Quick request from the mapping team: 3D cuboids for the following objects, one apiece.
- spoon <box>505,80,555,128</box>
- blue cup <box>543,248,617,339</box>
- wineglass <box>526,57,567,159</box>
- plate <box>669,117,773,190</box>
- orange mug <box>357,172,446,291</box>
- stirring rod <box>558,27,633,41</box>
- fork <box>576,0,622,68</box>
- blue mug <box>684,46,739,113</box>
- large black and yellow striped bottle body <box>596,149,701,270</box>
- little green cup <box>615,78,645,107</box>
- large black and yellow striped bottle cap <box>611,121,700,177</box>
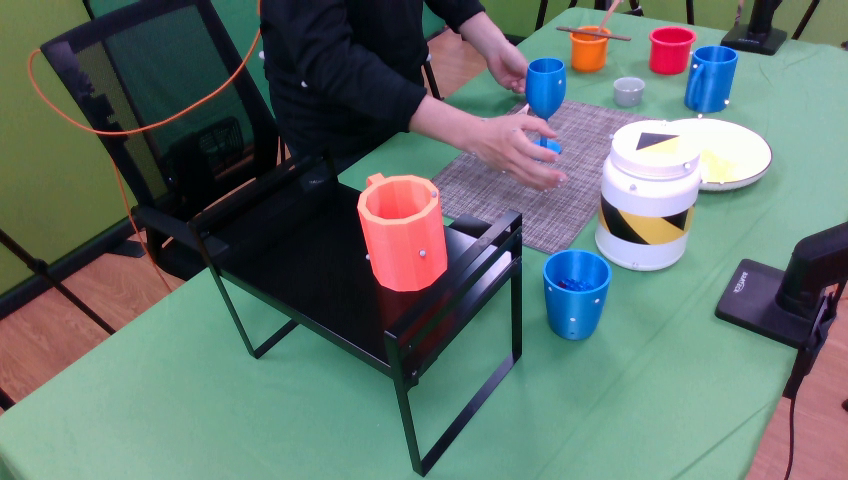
[{"bbox_3d":[0.227,-0.286,1.260,0.041,0.022,0.194,23,56,29],"label":"spoon"},{"bbox_3d":[0.199,0.076,0.797,0.092,0.100,0.092,-4,39,4],"label":"blue cup"},{"bbox_3d":[0.221,-0.237,1.098,0.074,0.173,0.073,-4,41,4],"label":"wineglass"},{"bbox_3d":[0.495,-0.148,1.063,0.209,0.038,0.208,-5,40,4],"label":"plate"},{"bbox_3d":[-0.030,-0.018,0.669,0.084,0.101,0.125,-23,47,-16],"label":"orange mug"},{"bbox_3d":[0.381,-0.463,1.356,0.175,0.006,0.014,21,48,30],"label":"stirring rod"},{"bbox_3d":[0.409,-0.484,1.381,0.028,0.019,0.207,37,101,46],"label":"fork"},{"bbox_3d":[0.556,-0.310,1.190,0.117,0.106,0.081,-32,46,-25],"label":"blue mug"},{"bbox_3d":[0.323,-0.062,0.877,0.131,0.185,0.130,-4,40,4],"label":"large black and yellow striped bottle body"},{"bbox_3d":[0.426,-0.306,1.257,0.061,0.039,0.061,-4,40,4],"label":"little green cup"},{"bbox_3d":[0.315,-0.126,0.823,0.115,0.019,0.114,-4,42,4],"label":"large black and yellow striped bottle cap"}]
